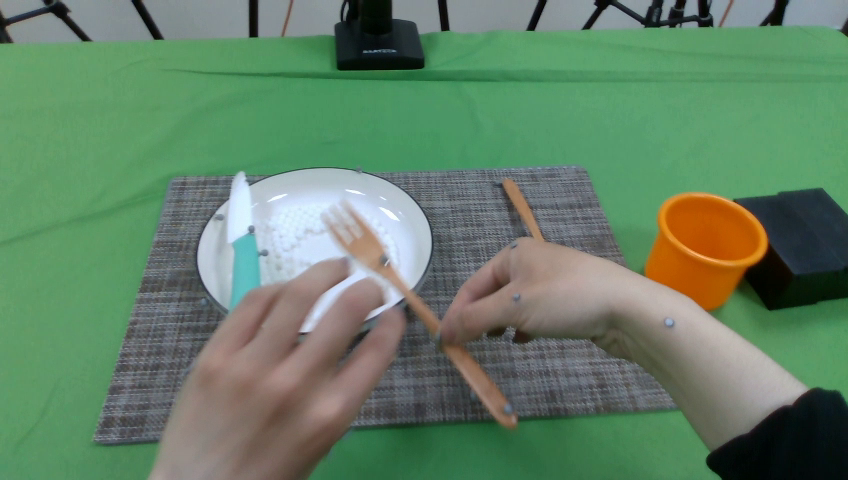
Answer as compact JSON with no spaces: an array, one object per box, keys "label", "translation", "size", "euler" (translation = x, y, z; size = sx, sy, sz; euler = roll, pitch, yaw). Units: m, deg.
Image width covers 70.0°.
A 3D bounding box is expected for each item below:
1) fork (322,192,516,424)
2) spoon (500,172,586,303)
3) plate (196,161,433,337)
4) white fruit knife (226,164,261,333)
[{"label":"fork","translation":[-0.008,0.040,0.411],"size":[0.028,0.019,0.205],"euler":[-31,62,-20]},{"label":"spoon","translation":[0.108,-0.010,0.590],"size":[0.041,0.022,0.191],"euler":[-19,48,3]},{"label":"plate","translation":[-0.096,0.006,0.552],"size":[0.209,0.038,0.207],"euler":[2,46,-1]},{"label":"white fruit knife","translation":[-0.159,-0.004,0.528],"size":[0.027,0.016,0.205],"euler":[-11,47,-8]}]
